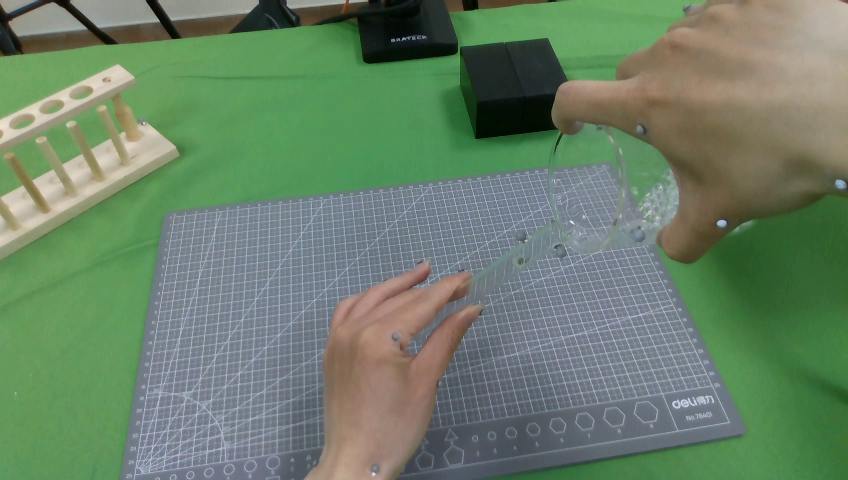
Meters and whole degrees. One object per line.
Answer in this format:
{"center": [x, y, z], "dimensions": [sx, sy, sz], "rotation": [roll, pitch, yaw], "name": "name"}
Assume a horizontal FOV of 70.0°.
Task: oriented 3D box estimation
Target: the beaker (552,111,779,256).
{"center": [0.131, -0.031, 0.336], "dimensions": [0.100, 0.084, 0.073], "rotation": [-6, 54, -15], "name": "beaker"}

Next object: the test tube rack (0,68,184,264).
{"center": [-0.365, -0.063, 0.577], "dimensions": [0.066, 0.086, 0.242], "rotation": [36, 60, 27], "name": "test tube rack"}

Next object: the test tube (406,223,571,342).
{"center": [0.036, 0.033, 0.399], "dimensions": [0.017, 0.150, 0.017], "rotation": [26, 44, -28], "name": "test tube"}
